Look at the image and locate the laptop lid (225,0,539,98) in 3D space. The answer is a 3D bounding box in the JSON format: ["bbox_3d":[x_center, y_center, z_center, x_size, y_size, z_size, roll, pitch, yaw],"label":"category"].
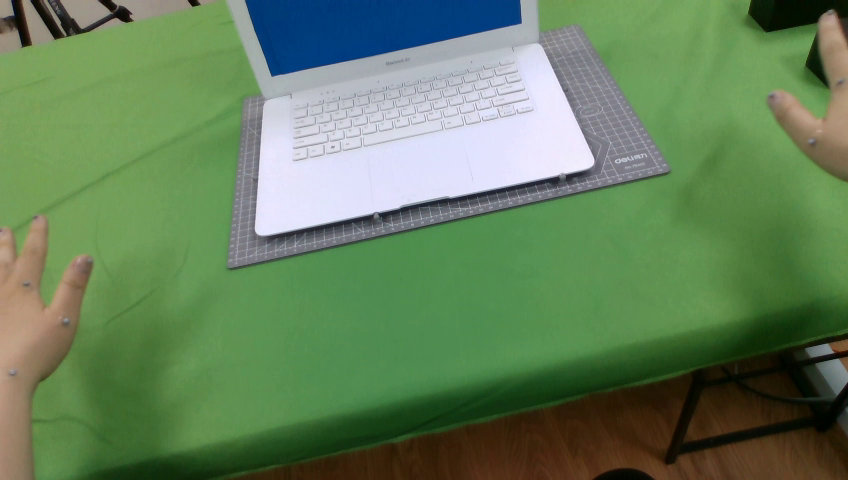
[{"bbox_3d":[-0.050,-0.298,0.685,0.357,0.244,0.013,-13,40,3],"label":"laptop lid"}]

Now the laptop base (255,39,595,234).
[{"bbox_3d":[-0.013,-0.123,0.685,0.354,0.023,0.233,-12,51,2],"label":"laptop base"}]
